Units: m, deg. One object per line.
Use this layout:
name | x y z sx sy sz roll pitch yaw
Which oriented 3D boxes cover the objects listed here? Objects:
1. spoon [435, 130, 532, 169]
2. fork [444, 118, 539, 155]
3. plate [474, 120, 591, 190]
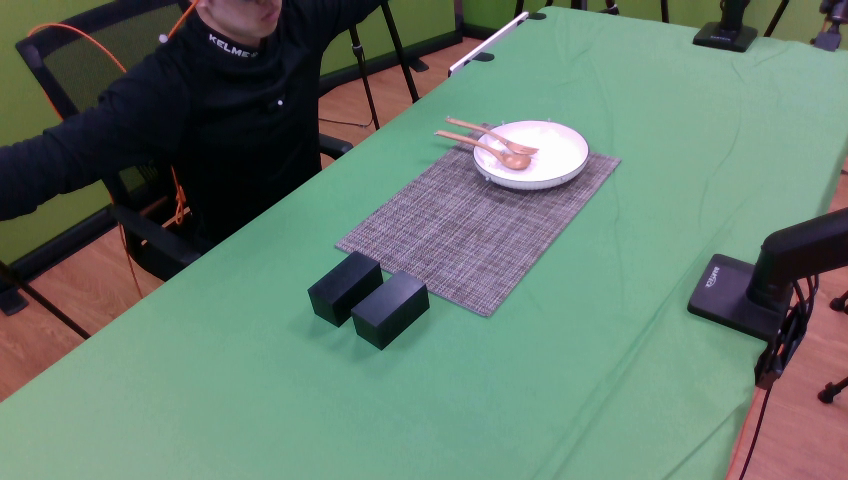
spoon | 0.107 -0.171 1.112 0.193 0.022 0.041 25 53 15
fork | 0.123 -0.198 1.143 0.206 0.019 0.028 27 54 24
plate | 0.196 -0.151 1.099 0.207 0.039 0.206 -4 40 4
